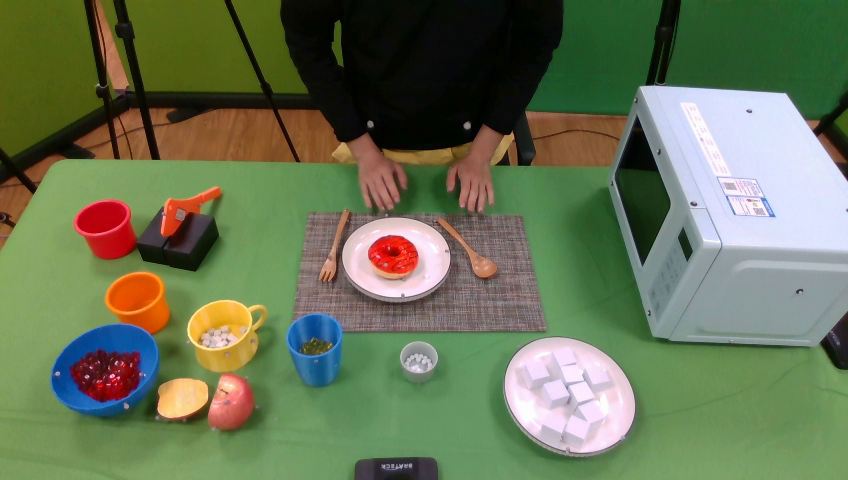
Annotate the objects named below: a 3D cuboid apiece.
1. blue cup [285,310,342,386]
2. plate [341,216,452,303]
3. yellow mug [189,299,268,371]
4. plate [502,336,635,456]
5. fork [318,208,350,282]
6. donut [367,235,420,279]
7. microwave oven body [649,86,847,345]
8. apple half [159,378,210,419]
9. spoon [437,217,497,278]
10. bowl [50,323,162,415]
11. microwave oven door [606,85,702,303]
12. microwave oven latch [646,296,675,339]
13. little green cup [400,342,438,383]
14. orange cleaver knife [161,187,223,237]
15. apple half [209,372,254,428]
[{"bbox_3d":[-0.170,0.179,0.958,0.093,0.101,0.092,2,44,-1],"label":"blue cup"},{"bbox_3d":[-0.052,0.039,1.140,0.209,0.038,0.208,2,46,-2],"label":"plate"},{"bbox_3d":[-0.316,0.148,1.002,0.131,0.064,0.099,-32,56,-31],"label":"yellow mug"},{"bbox_3d":[0.225,0.248,0.963,0.208,0.039,0.206,2,46,-2],"label":"plate"},{"bbox_3d":[-0.170,0.006,1.177,0.028,0.019,0.206,3,48,7],"label":"fork"},{"bbox_3d":[-0.056,0.032,1.132,0.099,0.048,0.098,3,45,-3],"label":"donut"},{"bbox_3d":[0.568,-0.053,1.118,0.326,0.261,0.439,2,45,-1],"label":"microwave oven body"},{"bbox_3d":[-0.366,0.247,0.926,0.081,0.033,0.081,8,31,-5],"label":"apple half"},{"bbox_3d":[0.080,0.010,1.188,0.041,0.022,0.192,-33,55,-9],"label":"spoon"},{"bbox_3d":[-0.472,0.209,0.924,0.151,0.077,0.150,3,45,-2],"label":"bowl"},{"bbox_3d":[0.423,-0.094,1.141,0.039,0.245,0.353,2,46,-1],"label":"microwave oven door"},{"bbox_3d":[0.412,0.134,1.061,0.030,0.029,0.078,4,45,1],"label":"microwave oven latch"},{"bbox_3d":[-0.010,0.202,0.991,0.061,0.039,0.061,2,46,-2],"label":"little green cup"},{"bbox_3d":[-0.448,-0.058,1.181,0.012,0.077,0.211,13,17,6],"label":"orange cleaver knife"},{"bbox_3d":[-0.282,0.243,0.908,0.053,0.075,0.080,7,42,-2],"label":"apple half"}]
